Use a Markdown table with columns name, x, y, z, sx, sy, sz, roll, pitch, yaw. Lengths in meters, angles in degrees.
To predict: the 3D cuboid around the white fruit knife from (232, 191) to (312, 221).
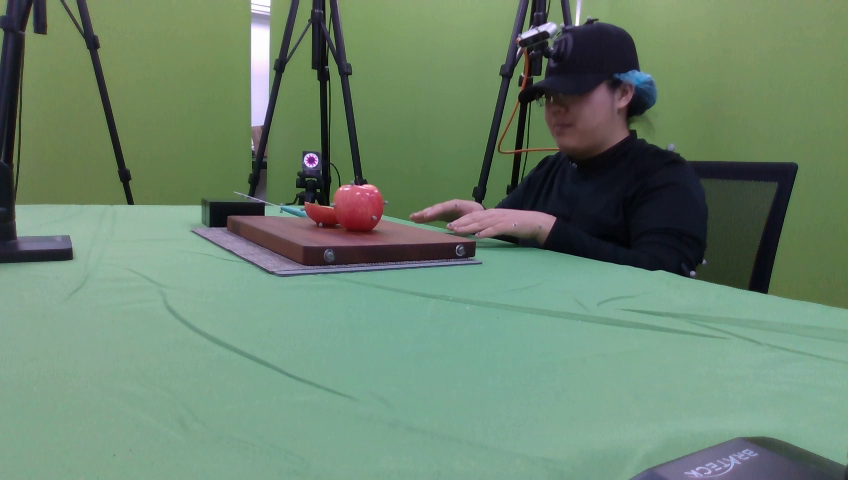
| name | x | y | z | sx | sy | sz | roll | pitch | yaw |
| --- | --- | --- | --- | --- | --- | --- | --- | --- | --- |
| white fruit knife | -0.286 | -0.065 | 1.221 | 0.208 | 0.016 | 0.027 | 18 | -2 | -31 |

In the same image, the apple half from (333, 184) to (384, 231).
| name | x | y | z | sx | sy | sz | roll | pitch | yaw |
| --- | --- | --- | --- | --- | --- | --- | --- | --- | --- |
| apple half | -0.097 | -0.050 | 0.949 | 0.081 | 0.074 | 0.053 | 1 | 11 | -38 |

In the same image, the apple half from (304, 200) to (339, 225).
| name | x | y | z | sx | sy | sz | roll | pitch | yaw |
| --- | --- | --- | --- | --- | --- | --- | --- | --- | --- |
| apple half | -0.163 | -0.040 | 1.000 | 0.081 | 0.033 | 0.081 | 15 | -2 | 1 |
